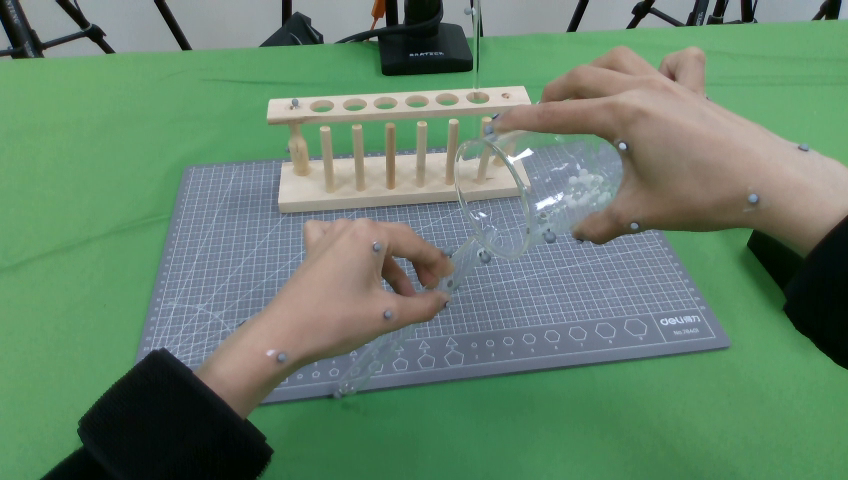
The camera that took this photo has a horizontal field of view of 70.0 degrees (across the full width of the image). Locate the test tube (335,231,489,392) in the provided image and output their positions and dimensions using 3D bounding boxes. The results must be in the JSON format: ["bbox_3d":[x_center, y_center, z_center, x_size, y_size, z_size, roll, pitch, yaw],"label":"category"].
[{"bbox_3d":[-0.012,0.051,0.403,0.017,0.150,0.017,37,19,-15],"label":"test tube"}]

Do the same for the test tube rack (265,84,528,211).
[{"bbox_3d":[-0.023,-0.089,0.581,0.243,0.086,0.066,-4,44,-5],"label":"test tube rack"}]

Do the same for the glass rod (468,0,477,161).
[{"bbox_3d":[0.045,-0.163,0.563,0.008,0.201,0.008,-1,37,1],"label":"glass rod"}]

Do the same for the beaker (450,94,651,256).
[{"bbox_3d":[0.077,-0.041,0.365,0.100,0.084,0.073,-23,61,-21],"label":"beaker"}]
